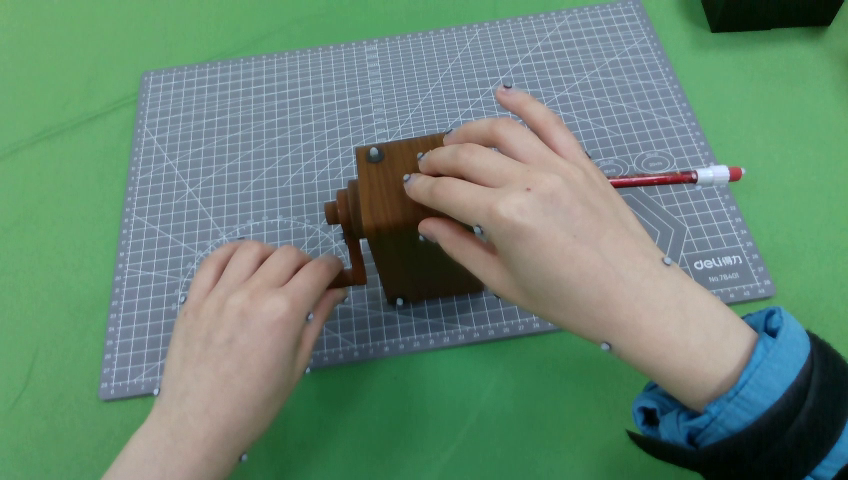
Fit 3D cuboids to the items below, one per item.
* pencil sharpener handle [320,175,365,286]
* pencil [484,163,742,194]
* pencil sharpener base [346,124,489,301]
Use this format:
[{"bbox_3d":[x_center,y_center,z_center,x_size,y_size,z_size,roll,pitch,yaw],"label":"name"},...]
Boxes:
[{"bbox_3d":[-0.053,-0.003,0.362,0.030,0.068,0.035,-9,24,0],"label":"pencil sharpener handle"},{"bbox_3d":[0.096,-0.035,0.363,0.194,0.012,0.012,-4,60,-4],"label":"pencil"},{"bbox_3d":[-0.002,-0.012,0.381,0.077,0.108,0.061,-9,60,0],"label":"pencil sharpener base"}]
